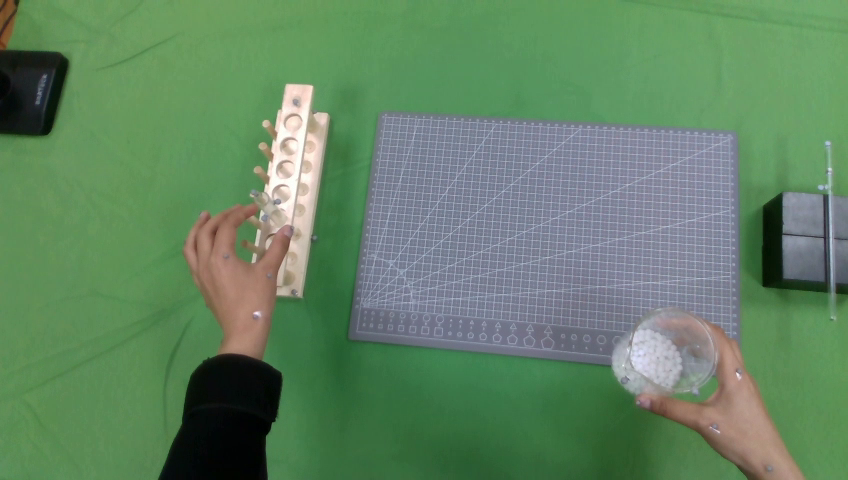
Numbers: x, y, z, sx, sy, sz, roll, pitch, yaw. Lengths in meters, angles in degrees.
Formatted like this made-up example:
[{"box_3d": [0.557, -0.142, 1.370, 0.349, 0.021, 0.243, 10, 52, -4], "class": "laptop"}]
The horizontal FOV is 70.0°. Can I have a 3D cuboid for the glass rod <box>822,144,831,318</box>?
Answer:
[{"box_3d": [0.441, -0.013, 0.664, 0.008, 0.008, 0.199, 7, 77, 6], "class": "glass rod"}]

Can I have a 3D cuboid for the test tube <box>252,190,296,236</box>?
[{"box_3d": [-0.163, -0.027, 0.671, 0.017, 0.151, 0.017, 0, 78, -1], "class": "test tube"}]

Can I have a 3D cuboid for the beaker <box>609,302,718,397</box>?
[{"box_3d": [0.215, 0.108, 0.567, 0.084, 0.101, 0.073, -21, 70, -2], "class": "beaker"}]

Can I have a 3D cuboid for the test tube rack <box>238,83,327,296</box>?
[{"box_3d": [-0.175, -0.060, 0.731, 0.066, 0.085, 0.241, 5, 77, 6], "class": "test tube rack"}]
